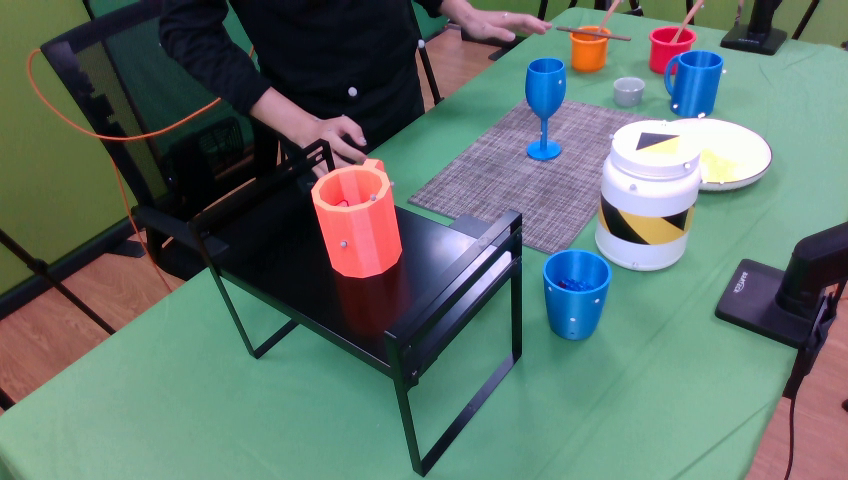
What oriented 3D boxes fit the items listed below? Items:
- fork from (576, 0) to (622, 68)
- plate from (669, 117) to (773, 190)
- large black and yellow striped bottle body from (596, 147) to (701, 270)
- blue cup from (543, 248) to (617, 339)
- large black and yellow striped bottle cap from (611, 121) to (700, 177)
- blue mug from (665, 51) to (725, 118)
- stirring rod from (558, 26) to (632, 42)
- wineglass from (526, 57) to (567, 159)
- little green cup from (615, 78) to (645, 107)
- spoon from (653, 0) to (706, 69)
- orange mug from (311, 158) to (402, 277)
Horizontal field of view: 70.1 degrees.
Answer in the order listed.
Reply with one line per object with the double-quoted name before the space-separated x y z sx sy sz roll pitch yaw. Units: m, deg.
"fork" 0.409 -0.484 1.381 0.028 0.019 0.207 37 101 46
"plate" 0.495 -0.149 1.063 0.209 0.038 0.208 -5 40 4
"large black and yellow striped bottle body" 0.323 -0.062 0.877 0.131 0.185 0.130 -4 40 4
"blue cup" 0.199 0.076 0.797 0.092 0.100 0.092 -4 39 4
"large black and yellow striped bottle cap" 0.315 -0.126 0.823 0.115 0.019 0.114 -4 42 4
"blue mug" 0.526 -0.314 1.199 0.082 0.106 0.115 -27 44 -21
"stirring rod" 0.381 -0.463 1.356 0.175 0.006 0.014 22 48 30
"wineglass" 0.221 -0.236 1.097 0.074 0.173 0.073 -5 41 4
"little green cup" 0.426 -0.306 1.257 0.061 0.039 0.061 -5 40 4
"spoon" 0.570 -0.461 1.334 0.041 0.022 0.193 39 102 42
"orange mug" -0.070 -0.034 0.694 0.083 0.101 0.126 5 46 16
